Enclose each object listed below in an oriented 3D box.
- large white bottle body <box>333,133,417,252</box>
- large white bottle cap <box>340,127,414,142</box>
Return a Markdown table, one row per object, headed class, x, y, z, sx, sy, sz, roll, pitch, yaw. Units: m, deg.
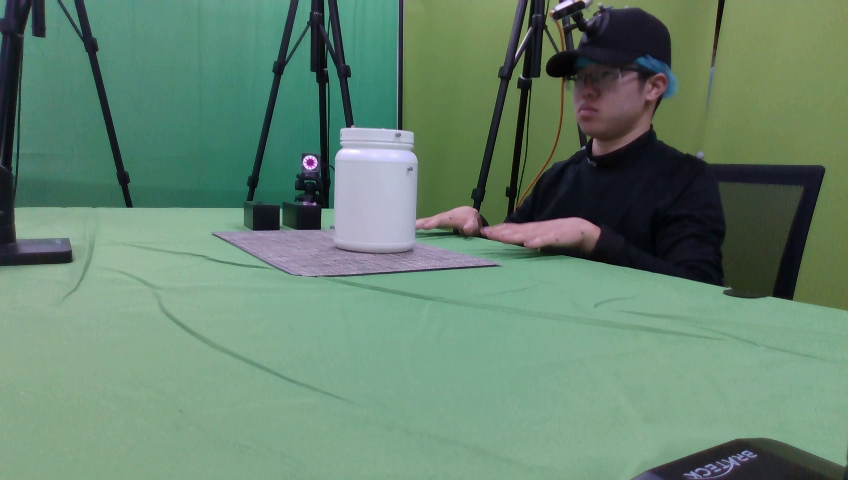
| class | x | y | z | sx | sy | sz | roll | pitch | yaw |
| --- | --- | --- | --- | --- | --- | --- | --- | --- | --- |
| large white bottle body | -0.076 | -0.080 | 0.950 | 0.131 | 0.184 | 0.130 | 2 | 7 | 0 |
| large white bottle cap | -0.072 | -0.163 | 0.940 | 0.115 | 0.018 | 0.115 | 2 | 7 | 0 |
